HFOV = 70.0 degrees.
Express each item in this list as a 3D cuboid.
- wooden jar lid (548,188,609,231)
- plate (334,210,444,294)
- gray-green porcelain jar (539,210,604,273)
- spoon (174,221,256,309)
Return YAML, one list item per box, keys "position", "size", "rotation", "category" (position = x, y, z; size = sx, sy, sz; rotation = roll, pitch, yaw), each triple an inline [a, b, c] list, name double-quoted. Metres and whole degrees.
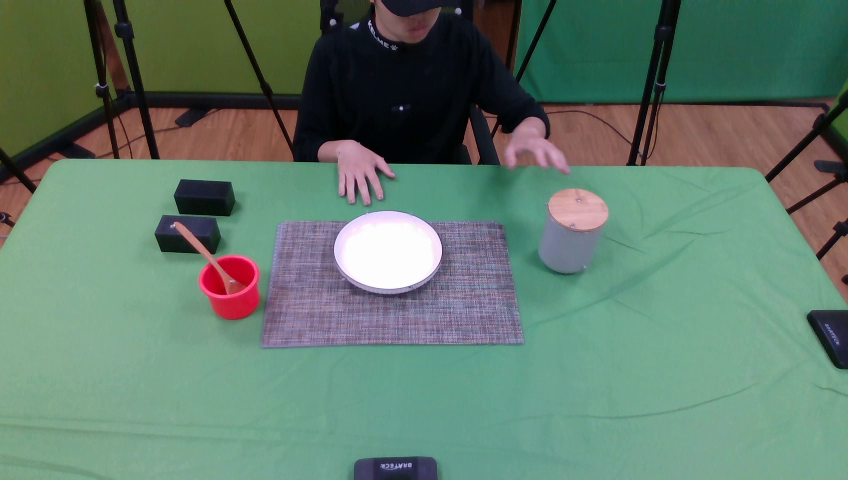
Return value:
- position: [0.280, -0.052, 1.105]
  size: [0.108, 0.021, 0.107]
  rotation: [0, 48, 0]
  category: "wooden jar lid"
- position: [-0.066, 0.026, 1.150]
  size: [0.208, 0.039, 0.206]
  rotation: [2, 46, -2]
  category: "plate"
- position: [0.277, -0.007, 1.151]
  size: [0.106, 0.127, 0.105]
  rotation: [2, 46, -2]
  category: "gray-green porcelain jar"
- position: [-0.360, 0.043, 1.043]
  size: [0.194, 0.021, 0.041]
  rotation: [54, 51, -14]
  category: "spoon"
